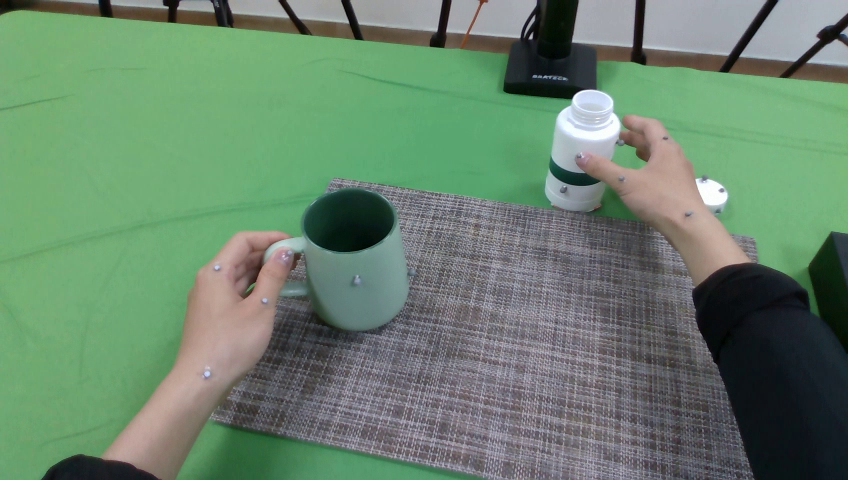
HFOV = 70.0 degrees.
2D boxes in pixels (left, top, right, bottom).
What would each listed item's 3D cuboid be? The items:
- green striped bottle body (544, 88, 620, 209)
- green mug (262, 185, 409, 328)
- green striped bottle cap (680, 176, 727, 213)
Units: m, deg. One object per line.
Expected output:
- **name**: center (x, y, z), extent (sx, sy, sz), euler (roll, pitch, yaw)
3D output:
- **green striped bottle body**: center (0.163, -0.095, 0.623), extent (0.063, 0.120, 0.062), euler (0, 47, 1)
- **green mug**: center (-0.077, 0.019, 0.526), extent (0.125, 0.106, 0.091), euler (-11, 48, -9)
- **green striped bottle cap**: center (0.299, -0.048, 0.648), extent (0.044, 0.020, 0.044), euler (1, 44, -1)
